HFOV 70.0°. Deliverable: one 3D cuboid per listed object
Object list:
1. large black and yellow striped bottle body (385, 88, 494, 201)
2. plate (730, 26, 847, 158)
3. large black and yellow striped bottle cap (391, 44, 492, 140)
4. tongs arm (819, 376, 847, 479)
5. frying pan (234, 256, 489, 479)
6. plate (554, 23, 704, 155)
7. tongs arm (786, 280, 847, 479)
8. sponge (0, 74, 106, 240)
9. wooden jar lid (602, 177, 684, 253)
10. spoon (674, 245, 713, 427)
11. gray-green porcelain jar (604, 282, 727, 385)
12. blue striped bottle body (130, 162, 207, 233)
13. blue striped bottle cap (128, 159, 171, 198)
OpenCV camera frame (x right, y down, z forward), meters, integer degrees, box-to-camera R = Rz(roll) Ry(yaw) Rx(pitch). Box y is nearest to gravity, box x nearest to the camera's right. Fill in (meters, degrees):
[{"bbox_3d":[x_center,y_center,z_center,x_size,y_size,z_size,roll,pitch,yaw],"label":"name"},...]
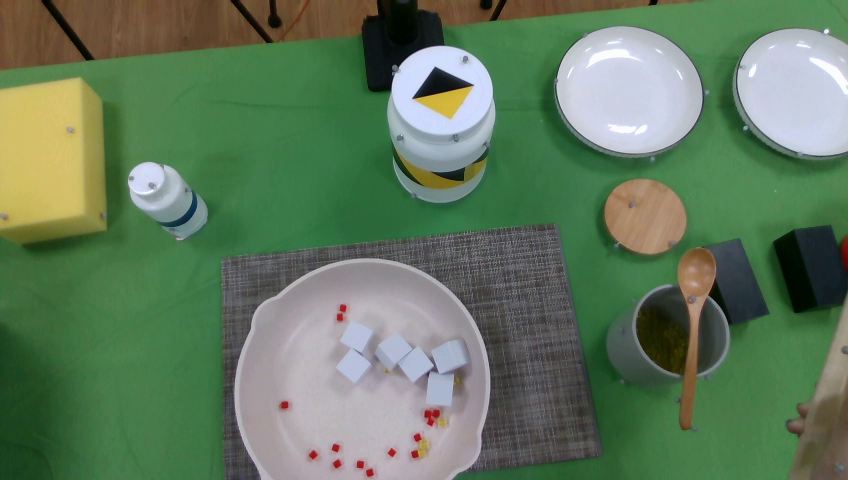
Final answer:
[{"bbox_3d":[0.019,-0.141,0.765,0.131,0.185,0.130,0,72,0],"label":"large black and yellow striped bottle body"},{"bbox_3d":[0.539,-0.208,0.864,0.209,0.038,0.208,0,72,0],"label":"plate"},{"bbox_3d":[0.020,-0.169,0.685,0.115,0.019,0.114,0,74,0],"label":"large black and yellow striped bottle cap"},{"bbox_3d":[0.320,0.147,0.468,0.026,0.050,0.386,4,108,11],"label":"tongs arm"},{"bbox_3d":[-0.130,0.242,0.680,0.305,0.103,0.486,33,67,11],"label":"frying pan"},{"bbox_3d":[0.287,-0.212,0.865,0.208,0.039,0.206,0,73,0],"label":"plate"},{"bbox_3d":[0.324,0.140,0.485,0.028,0.028,0.390,3,113,7],"label":"tongs arm"},{"bbox_3d":[-0.505,-0.112,0.815,0.118,0.061,0.205,-11,74,-4],"label":"sponge"},{"bbox_3d":[0.293,-0.033,0.818,0.108,0.021,0.108,0,74,0],"label":"wooden jar lid"},{"bbox_3d":[0.282,0.101,0.646,0.041,0.022,0.193,11,76,-1],"label":"spoon"},{"bbox_3d":[0.276,0.115,0.715,0.106,0.127,0.105,0,72,0],"label":"gray-green porcelain jar"},{"bbox_3d":[-0.325,-0.056,0.768,0.063,0.121,0.062,0,72,0],"label":"blue striped bottle body"},{"bbox_3d":[-0.326,-0.073,0.719,0.044,0.021,0.044,0,74,-1],"label":"blue striped bottle cap"}]
